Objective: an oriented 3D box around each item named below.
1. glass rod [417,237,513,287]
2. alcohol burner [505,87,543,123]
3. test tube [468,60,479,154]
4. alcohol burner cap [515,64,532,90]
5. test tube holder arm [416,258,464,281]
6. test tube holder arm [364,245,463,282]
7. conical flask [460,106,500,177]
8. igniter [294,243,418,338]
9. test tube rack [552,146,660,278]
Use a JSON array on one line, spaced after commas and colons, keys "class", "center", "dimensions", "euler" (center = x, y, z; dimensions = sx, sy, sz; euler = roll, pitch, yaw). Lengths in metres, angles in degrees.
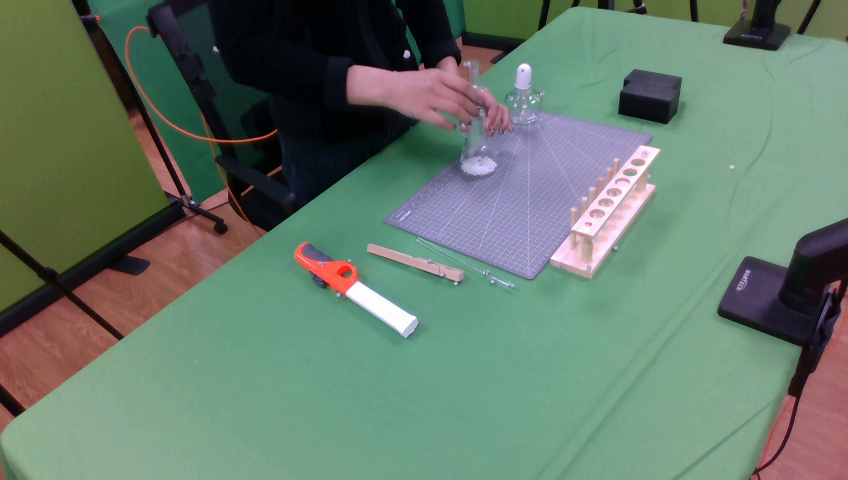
[{"class": "glass rod", "center": [0.059, 0.032, 0.945], "dimensions": [0.198, 0.008, 0.008], "euler": [27, 52, 38]}, {"class": "alcohol burner", "center": [0.202, -0.298, 1.221], "dimensions": [0.078, 0.119, 0.077], "euler": [-4, 40, 4]}, {"class": "test tube", "center": [0.076, -0.202, 0.933], "dimensions": [0.017, 0.151, 0.017], "euler": [-1, 35, 1]}, {"class": "alcohol burner cap", "center": [0.199, -0.325, 1.198], "dimensions": [0.034, 0.048, 0.033], "euler": [0, 46, 1]}, {"class": "test tube holder arm", "center": [0.022, 0.045, 0.931], "dimensions": [0.087, 0.015, 0.010], "euler": [16, 10, 28]}, {"class": "test tube holder arm", "center": [-0.020, 0.035, 0.947], "dimensions": [0.177, 0.015, 0.013], "euler": [16, 9, 26]}, {"class": "conical flask", "center": [0.097, -0.181, 1.097], "dimensions": [0.075, 0.122, 0.075], "euler": [-6, 40, 5]}, {"class": "igniter", "center": [-0.113, 0.070, 0.919], "dimensions": [0.274, 0.025, 0.057], "euler": [29, 63, 37]}, {"class": "test tube rack", "center": [0.286, -0.053, 0.943], "dimensions": [0.066, 0.085, 0.243], "euler": [21, 49, 32]}]
